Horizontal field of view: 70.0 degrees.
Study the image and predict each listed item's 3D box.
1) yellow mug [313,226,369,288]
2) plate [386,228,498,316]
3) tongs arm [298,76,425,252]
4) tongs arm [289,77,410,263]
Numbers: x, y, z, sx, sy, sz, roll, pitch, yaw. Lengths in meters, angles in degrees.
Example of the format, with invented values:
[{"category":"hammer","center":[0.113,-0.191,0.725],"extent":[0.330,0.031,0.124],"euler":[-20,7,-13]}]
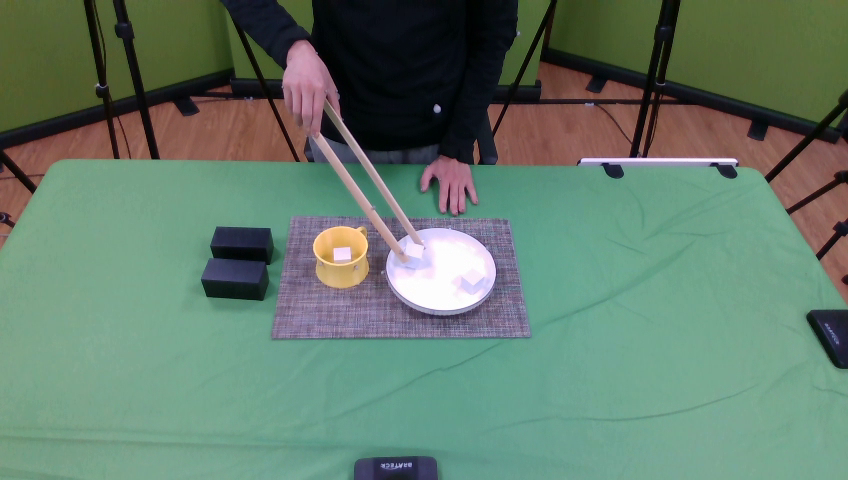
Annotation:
[{"category":"yellow mug","center":[-0.146,0.021,1.131],"extent":[0.099,0.064,0.130],"euler":[24,49,19]},{"category":"plate","center":[0.032,0.062,1.126],"extent":[0.208,0.039,0.206],"euler":[2,46,-2]},{"category":"tongs arm","center":[-0.113,-0.140,1.129],"extent":[0.028,0.028,0.387],"euler":[-36,94,-32]},{"category":"tongs arm","center":[-0.132,-0.126,1.112],"extent":[0.050,0.026,0.385],"euler":[-40,96,-35]}]
